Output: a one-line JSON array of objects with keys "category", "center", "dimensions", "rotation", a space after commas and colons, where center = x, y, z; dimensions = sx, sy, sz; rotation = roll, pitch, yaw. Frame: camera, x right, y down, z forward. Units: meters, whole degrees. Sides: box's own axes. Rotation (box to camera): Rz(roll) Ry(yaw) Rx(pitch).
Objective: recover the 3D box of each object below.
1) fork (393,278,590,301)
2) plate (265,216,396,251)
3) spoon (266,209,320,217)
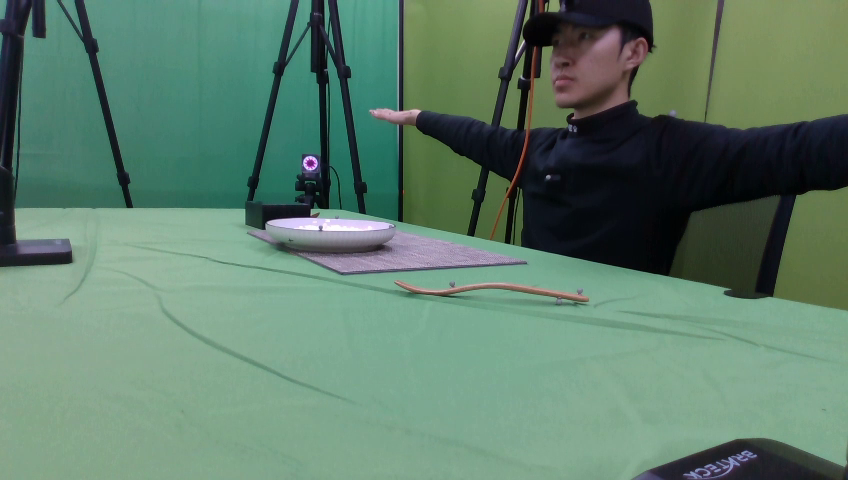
[{"category": "fork", "center": [0.070, 0.052, 0.640], "dimensions": [0.207, 0.018, 0.028], "rotation": [1, -3, 5]}, {"category": "plate", "center": [-0.150, -0.011, 0.978], "dimensions": [0.209, 0.038, 0.209], "rotation": [3, 7, 0]}, {"category": "spoon", "center": [-0.315, -0.064, 1.434], "dimensions": [0.193, 0.021, 0.042], "rotation": [8, 25, 39]}]
